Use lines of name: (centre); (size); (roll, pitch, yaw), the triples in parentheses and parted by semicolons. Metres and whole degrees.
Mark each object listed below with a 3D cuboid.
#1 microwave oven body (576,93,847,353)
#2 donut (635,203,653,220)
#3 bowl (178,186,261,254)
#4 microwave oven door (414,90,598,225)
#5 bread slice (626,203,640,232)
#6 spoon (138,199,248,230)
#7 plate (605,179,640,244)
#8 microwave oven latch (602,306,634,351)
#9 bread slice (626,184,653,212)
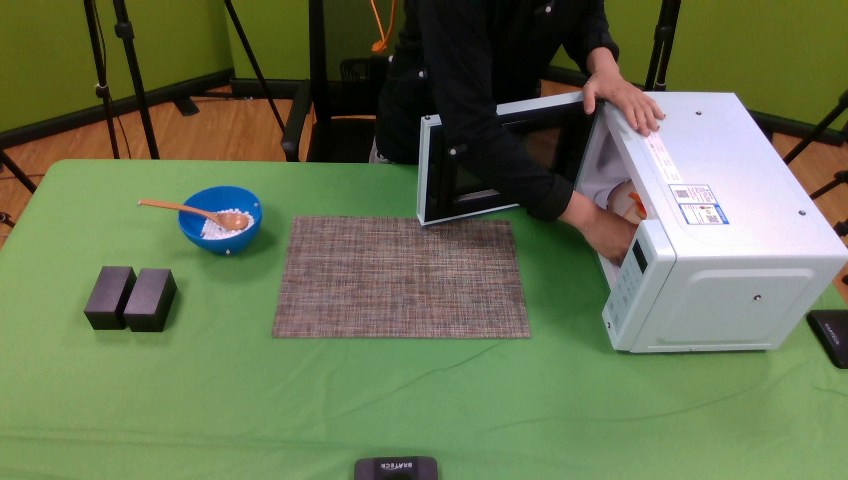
microwave oven body: (0.475, -0.041, 1.109); (0.326, 0.261, 0.438); (-1, 45, -4)
donut: (0.453, -0.058, 1.156); (0.099, 0.048, 0.098); (0, 44, 0)
bowl: (-0.383, -0.026, 1.157); (0.151, 0.077, 0.150); (2, 46, -2)
microwave oven door: (0.158, -0.161, 1.195); (0.356, 0.245, 0.039); (-12, 48, -16)
bread slice: (0.460, -0.037, 1.178); (0.134, 0.018, 0.107); (18, 56, 31)
spoon: (-0.431, -0.053, 1.135); (0.194, 0.022, 0.041); (15, 48, -20)
plate: (0.455, -0.041, 1.181); (0.208, 0.039, 0.206); (2, 46, -2)
microwave oven latch: (0.332, 0.153, 1.044); (0.030, 0.029, 0.078); (0, 45, -4)
bread slice: (0.464, -0.077, 1.137); (0.131, 0.019, 0.105); (34, 51, 29)
